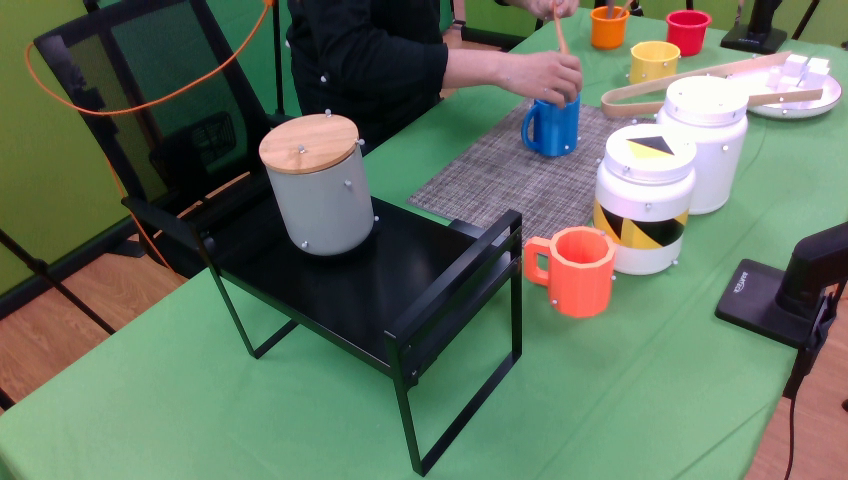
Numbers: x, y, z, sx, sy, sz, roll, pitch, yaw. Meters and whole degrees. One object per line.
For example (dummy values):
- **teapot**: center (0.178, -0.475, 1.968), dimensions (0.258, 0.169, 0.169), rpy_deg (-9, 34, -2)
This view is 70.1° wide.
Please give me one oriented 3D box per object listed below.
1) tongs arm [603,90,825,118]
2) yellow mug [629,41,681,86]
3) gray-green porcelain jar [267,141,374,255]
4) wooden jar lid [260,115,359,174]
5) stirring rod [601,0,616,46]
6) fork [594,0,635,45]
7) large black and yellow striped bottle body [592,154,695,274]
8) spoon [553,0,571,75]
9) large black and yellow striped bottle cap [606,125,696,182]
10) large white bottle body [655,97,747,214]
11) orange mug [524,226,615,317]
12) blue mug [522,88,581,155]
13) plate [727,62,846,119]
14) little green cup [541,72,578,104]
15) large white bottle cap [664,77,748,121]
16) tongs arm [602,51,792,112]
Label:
- **tongs arm**: center (0.546, -0.262, 1.162), dimensions (0.386, 0.028, 0.028), rpy_deg (-1, 49, 18)
- **yellow mug**: center (0.495, -0.389, 1.321), dimensions (0.100, 0.064, 0.130), rpy_deg (-14, 40, -7)
- **gray-green porcelain jar**: center (-0.117, -0.054, 0.703), dimensions (0.106, 0.127, 0.105), rpy_deg (-4, 40, 4)
- **wooden jar lid**: center (-0.124, -0.101, 0.662), dimensions (0.108, 0.021, 0.108), rpy_deg (-4, 41, 4)
- **stirring rod**: center (0.452, -0.554, 1.464), dimensions (0.014, 0.006, 0.176), rpy_deg (11, 86, 15)
- **fork**: center (0.484, -0.552, 1.447), dimensions (0.207, 0.019, 0.028), rpy_deg (-51, 46, 17)
- **large black and yellow striped bottle body**: center (0.313, -0.056, 0.872), dimensions (0.131, 0.185, 0.130), rpy_deg (-4, 41, 4)
- **spoon**: center (0.233, -0.372, 1.040), dimensions (0.021, 0.194, 0.042), rpy_deg (-3, 12, 35)
- **large black and yellow striped bottle cap**: center (0.305, -0.119, 0.816), dimensions (0.115, 0.019, 0.114), rpy_deg (-5, 41, 5)
- **large white bottle body**: center (0.431, -0.148, 0.959), dimensions (0.130, 0.185, 0.130), rpy_deg (-4, 41, 4)
- **orange mug**: center (0.201, 0.039, 0.845), dimensions (0.125, 0.101, 0.083), rpy_deg (18, 46, 21)
- **blue mug**: center (0.234, -0.219, 1.127), dimensions (0.117, 0.106, 0.081), rpy_deg (-21, 42, -15)
- **plate**: center (0.710, -0.292, 1.197), dimensions (0.207, 0.039, 0.206), rpy_deg (-4, 40, 4)
- **little green cup**: center (0.232, -0.261, 1.045), dimensions (0.061, 0.038, 0.061), rpy_deg (12, -1, 1)
- **large white bottle cap**: center (0.421, -0.212, 0.905), dimensions (0.115, 0.018, 0.114), rpy_deg (-4, 40, 4)
- **tongs arm**: center (0.552, -0.320, 1.223), dimensions (0.384, 0.027, 0.050), rpy_deg (-10, 43, 7)
